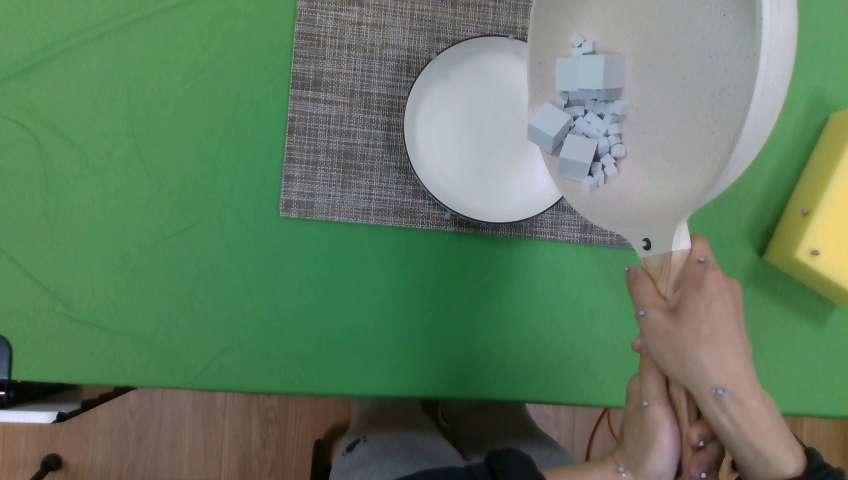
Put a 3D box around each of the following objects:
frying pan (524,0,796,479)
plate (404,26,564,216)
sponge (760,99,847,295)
[{"bbox_3d":[0.184,-0.057,0.491,0.103,0.306,0.486,0,83,-16],"label":"frying pan"},{"bbox_3d":[0.080,-0.128,0.670,0.208,0.039,0.207,0,88,-7],"label":"plate"},{"bbox_3d":[0.506,-0.052,0.716,0.118,0.061,0.206,28,85,-5],"label":"sponge"}]
